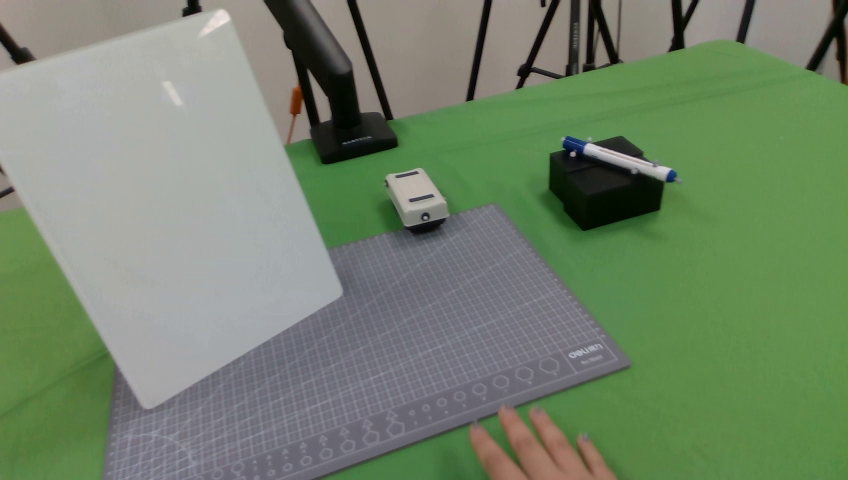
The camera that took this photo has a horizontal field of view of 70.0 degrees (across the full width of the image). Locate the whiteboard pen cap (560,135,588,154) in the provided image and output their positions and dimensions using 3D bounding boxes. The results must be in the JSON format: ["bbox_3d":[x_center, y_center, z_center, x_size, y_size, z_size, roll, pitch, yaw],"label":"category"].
[{"bbox_3d":[0.185,-0.117,0.746,0.033,0.018,0.018,-16,33,19],"label":"whiteboard pen cap"}]

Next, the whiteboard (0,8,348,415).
[{"bbox_3d":[-0.247,-0.033,0.595,0.217,0.307,0.143,-30,23,-28],"label":"whiteboard"}]

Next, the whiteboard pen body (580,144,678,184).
[{"bbox_3d":[0.230,-0.093,0.709,0.017,0.017,0.139,-33,43,-30],"label":"whiteboard pen body"}]

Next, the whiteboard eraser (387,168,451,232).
[{"bbox_3d":[-0.009,-0.050,0.753,0.056,0.042,0.111,-16,33,-9],"label":"whiteboard eraser"}]
